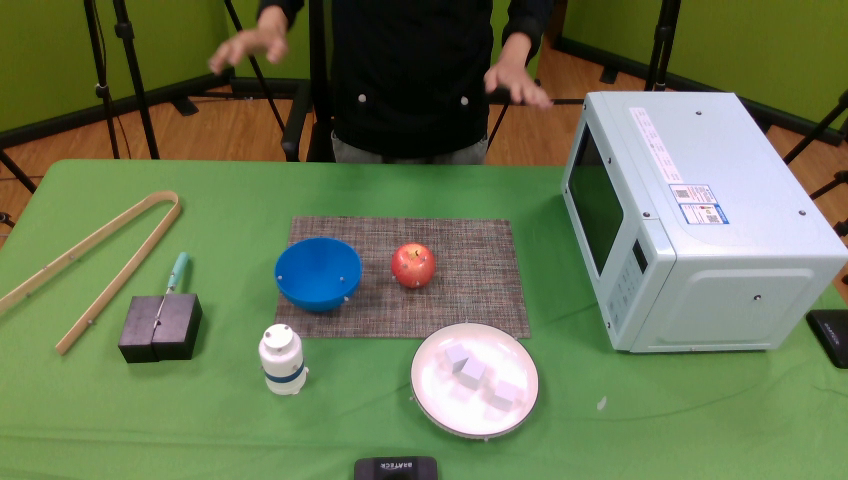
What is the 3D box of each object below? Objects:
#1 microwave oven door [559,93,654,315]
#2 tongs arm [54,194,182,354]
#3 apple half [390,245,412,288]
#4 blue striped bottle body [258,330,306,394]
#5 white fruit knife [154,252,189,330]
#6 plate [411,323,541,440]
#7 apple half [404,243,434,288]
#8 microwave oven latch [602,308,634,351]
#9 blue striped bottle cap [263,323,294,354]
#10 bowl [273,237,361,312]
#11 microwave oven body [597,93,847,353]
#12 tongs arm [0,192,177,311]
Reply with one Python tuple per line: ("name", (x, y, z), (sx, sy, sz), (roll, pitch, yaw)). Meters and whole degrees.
("microwave oven door", (0.327, -0.074, 1.123), (0.039, 0.245, 0.353), (-1, 46, -5))
("tongs arm", (-0.543, 0.048, 1.107), (0.028, 0.028, 0.385), (11, 46, 10))
("apple half", (-0.046, 0.053, 1.105), (0.033, 0.081, 0.080), (-8, 47, -16))
("blue striped bottle body", (-0.220, 0.182, 0.937), (0.063, 0.121, 0.062), (2, 46, -2))
("white fruit knife", (-0.438, 0.083, 1.053), (0.016, 0.027, 0.206), (-2, 35, -5))
("plate", (0.082, 0.228, 0.976), (0.208, 0.039, 0.206), (2, 45, -2))
("apple half", (-0.010, 0.048, 1.115), (0.053, 0.075, 0.080), (-6, 43, -17))
("microwave oven latch", (0.332, 0.153, 1.044), (0.030, 0.029, 0.078), (-1, 45, -4))
("blue striped bottle cap", (-0.217, 0.146, 0.900), (0.044, 0.021, 0.044), (1, 46, -1))
("bowl", (-0.186, 0.074, 1.069), (0.151, 0.077, 0.150), (3, 46, -3))
("microwave oven body", (0.475, -0.041, 1.110), (0.326, 0.261, 0.438), (-1, 45, -4))
("tongs arm", (-0.618, 0.019, 1.123), (0.050, 0.026, 0.384), (24, 47, 17))
